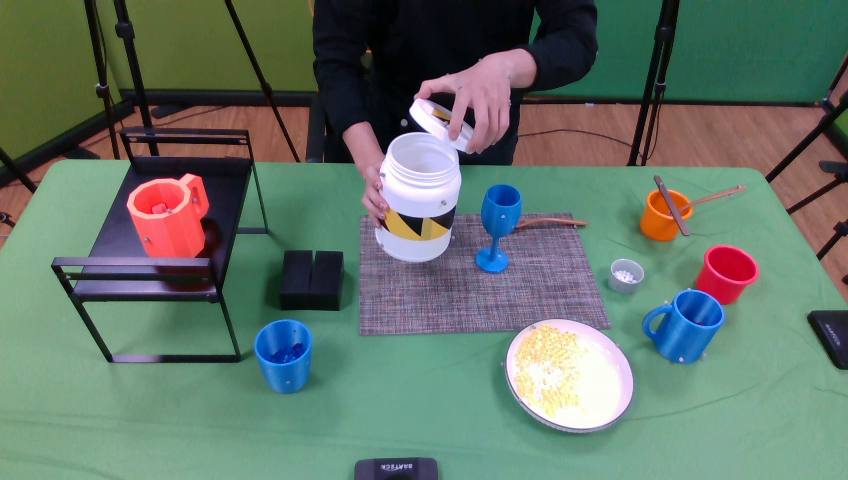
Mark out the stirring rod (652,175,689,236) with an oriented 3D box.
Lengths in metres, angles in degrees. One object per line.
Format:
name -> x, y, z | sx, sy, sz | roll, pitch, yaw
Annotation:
stirring rod -> 0.491, -0.072, 1.211 | 0.014, 0.006, 0.175 | -1, 46, -6

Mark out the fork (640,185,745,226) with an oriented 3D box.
fork -> 0.534, -0.069, 1.215 | 0.207, 0.019, 0.028 | -26, 27, 33

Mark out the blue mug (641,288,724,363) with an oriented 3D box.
blue mug -> 0.432, 0.144, 1.033 | 0.116, 0.106, 0.082 | 9, 46, 4

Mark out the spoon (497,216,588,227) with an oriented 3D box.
spoon -> 0.245, -0.039, 1.247 | 0.194, 0.022, 0.041 | -1, 26, -6

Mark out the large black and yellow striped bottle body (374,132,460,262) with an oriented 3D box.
large black and yellow striped bottle body -> -0.012, -0.069, 0.978 | 0.131, 0.185, 0.130 | 5, 44, -5

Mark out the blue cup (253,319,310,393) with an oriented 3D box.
blue cup -> -0.217, 0.187, 0.943 | 0.093, 0.101, 0.092 | 4, 45, -3

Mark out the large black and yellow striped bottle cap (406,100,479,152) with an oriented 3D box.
large black and yellow striped bottle cap -> 0.028, -0.168, 0.887 | 0.115, 0.019, 0.114 | 27, 24, -13

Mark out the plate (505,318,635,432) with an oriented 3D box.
plate -> 0.235, 0.221, 0.991 | 0.209, 0.038, 0.208 | 2, 45, -2

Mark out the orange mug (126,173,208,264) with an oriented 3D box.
orange mug -> -0.371, -0.040, 0.902 | 0.083, 0.101, 0.126 | 18, 52, 13

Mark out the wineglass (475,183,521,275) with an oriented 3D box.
wineglass -> 0.134, -0.020, 1.115 | 0.074, 0.173, 0.073 | 2, 46, -2

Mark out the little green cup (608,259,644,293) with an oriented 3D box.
little green cup -> 0.379, 0.070, 1.147 | 0.061, 0.039, 0.061 | 3, 45, -2
